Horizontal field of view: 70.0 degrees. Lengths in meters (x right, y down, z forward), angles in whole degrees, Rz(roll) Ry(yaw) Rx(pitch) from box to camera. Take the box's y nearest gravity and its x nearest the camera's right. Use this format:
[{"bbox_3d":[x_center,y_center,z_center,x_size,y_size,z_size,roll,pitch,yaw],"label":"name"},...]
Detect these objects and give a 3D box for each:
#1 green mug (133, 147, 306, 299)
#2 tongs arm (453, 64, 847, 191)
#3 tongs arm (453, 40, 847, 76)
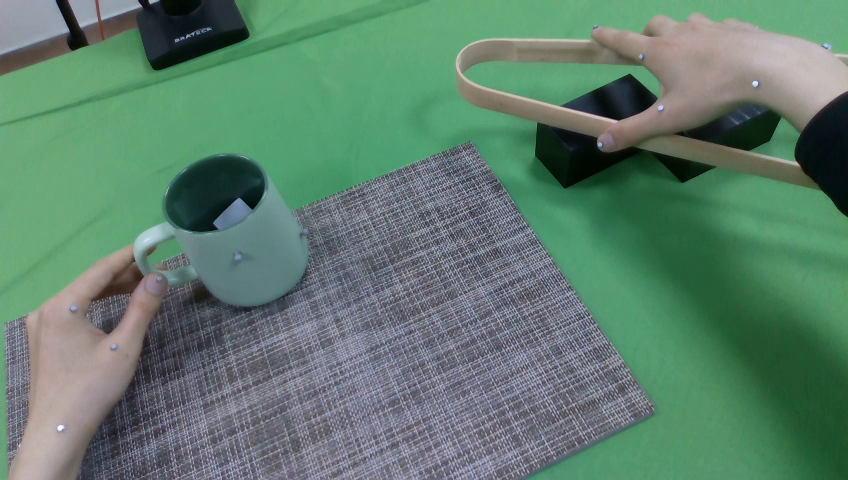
[{"bbox_3d":[-0.165,-0.005,0.487,0.125,0.106,0.091,-24,57,-10],"label":"green mug"},{"bbox_3d":[0.200,-0.088,0.500,0.386,0.028,0.028,17,67,16],"label":"tongs arm"},{"bbox_3d":[0.220,-0.152,0.536,0.384,0.027,0.050,6,62,10],"label":"tongs arm"}]
